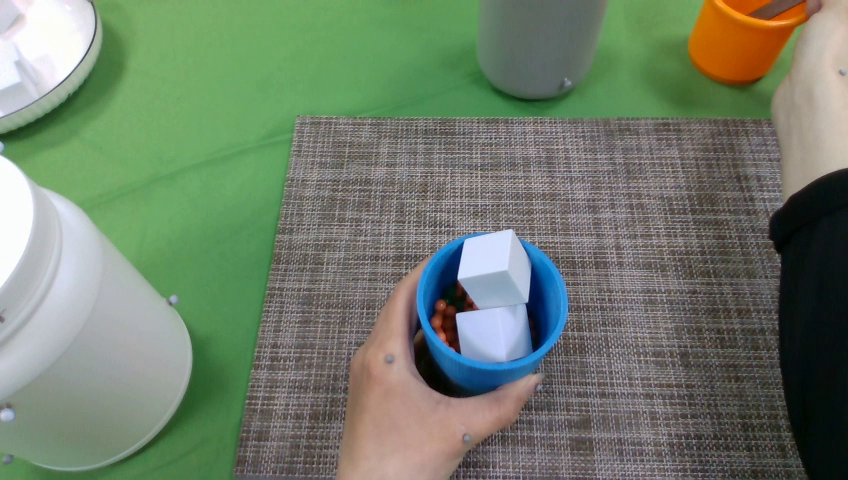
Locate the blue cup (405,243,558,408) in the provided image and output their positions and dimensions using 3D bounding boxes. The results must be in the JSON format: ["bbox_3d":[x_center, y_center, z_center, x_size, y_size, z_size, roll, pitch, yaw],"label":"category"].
[{"bbox_3d":[0.035,0.063,0.381,0.092,0.101,0.092,-2,60,3],"label":"blue cup"}]

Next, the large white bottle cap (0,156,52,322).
[{"bbox_3d":[-0.230,0.005,0.271,0.115,0.018,0.114,0,60,1],"label":"large white bottle cap"}]

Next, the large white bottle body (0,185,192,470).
[{"bbox_3d":[-0.227,0.049,0.344,0.130,0.186,0.129,0,60,1],"label":"large white bottle body"}]

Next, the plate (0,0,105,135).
[{"bbox_3d":[-0.396,-0.167,0.558,0.208,0.039,0.206,0,60,1],"label":"plate"}]

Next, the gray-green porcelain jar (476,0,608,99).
[{"bbox_3d":[0.097,-0.192,0.509,0.106,0.127,0.105,-1,60,2],"label":"gray-green porcelain jar"}]

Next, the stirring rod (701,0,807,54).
[{"bbox_3d":[0.310,-0.201,0.493,0.006,0.176,0.014,1,73,-39],"label":"stirring rod"}]
